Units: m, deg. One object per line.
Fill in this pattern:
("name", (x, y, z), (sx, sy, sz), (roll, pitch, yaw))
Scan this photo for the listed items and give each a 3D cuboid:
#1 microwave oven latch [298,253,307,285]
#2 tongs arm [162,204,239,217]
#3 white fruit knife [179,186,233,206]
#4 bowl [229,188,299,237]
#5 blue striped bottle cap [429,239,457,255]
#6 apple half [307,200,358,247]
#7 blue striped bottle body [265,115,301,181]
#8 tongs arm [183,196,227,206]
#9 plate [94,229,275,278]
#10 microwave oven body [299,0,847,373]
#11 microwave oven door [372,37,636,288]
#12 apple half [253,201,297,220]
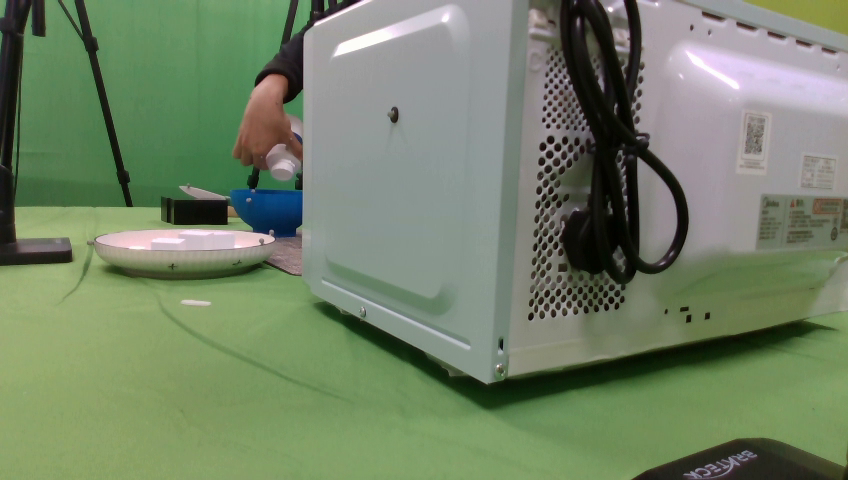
("microwave oven latch", (-0.081, 0.027, 0.582), (0.079, 0.029, 0.030), (-2, 7, -33))
("tongs arm", (-0.396, -0.066, 1.399), (0.389, 0.028, 0.028), (1, 6, -15))
("white fruit knife", (-0.413, -0.081, 1.270), (0.208, 0.027, 0.016), (17, 13, -41))
("bowl", (-0.265, -0.048, 1.065), (0.151, 0.077, 0.151), (3, 8, 0))
("blue striped bottle cap", (0.029, 0.011, 0.945), (0.044, 0.020, 0.044), (0, 7, 0))
("apple half", (-0.135, -0.024, 0.941), (0.053, 0.074, 0.081), (13, 9, 39))
("blue striped bottle body", (-0.260, -0.169, 1.124), (0.063, 0.120, 0.063), (-2, -31, -1))
("tongs arm", (-0.404, -0.081, 1.479), (0.385, 0.026, 0.050), (3, 9, -2))
("plate", (-0.291, 0.016, 0.749), (0.208, 0.039, 0.207), (2, 7, 0))
("microwave oven body", (0.151, -0.055, 0.542), (0.444, 0.260, 0.324), (-2, 7, -33))
("microwave oven door", (0.110, -0.080, 0.686), (0.358, 0.243, 0.039), (-2, 9, -33))
("apple half", (-0.263, -0.054, 1.066), (0.081, 0.033, 0.081), (0, 9, 0))
